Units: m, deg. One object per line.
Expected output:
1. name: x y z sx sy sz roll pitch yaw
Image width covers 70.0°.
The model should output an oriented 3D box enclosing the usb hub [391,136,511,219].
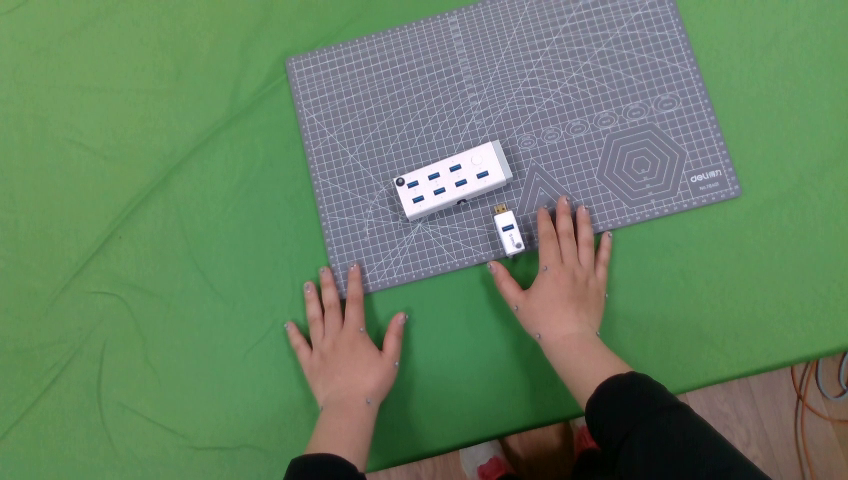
1. usb hub: 0.030 -0.069 0.668 0.125 0.025 0.049 -21 79 3

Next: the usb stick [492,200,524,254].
1. usb stick: 0.089 -0.016 0.652 0.021 0.027 0.059 -21 76 7
